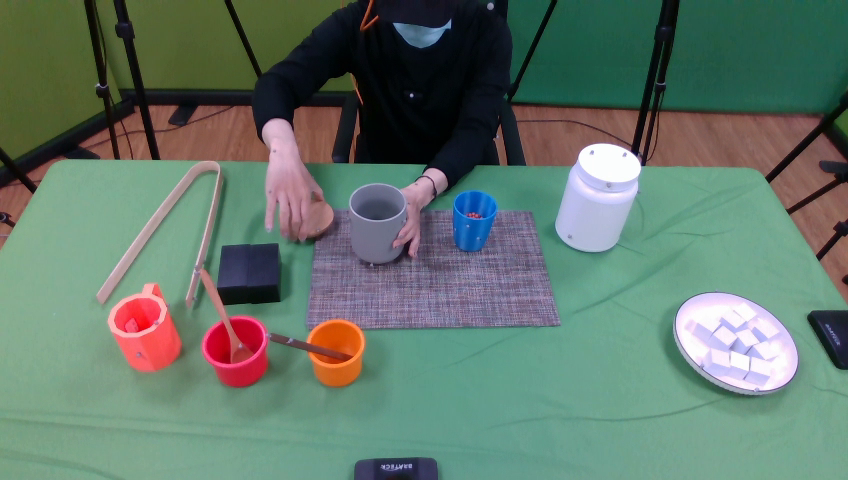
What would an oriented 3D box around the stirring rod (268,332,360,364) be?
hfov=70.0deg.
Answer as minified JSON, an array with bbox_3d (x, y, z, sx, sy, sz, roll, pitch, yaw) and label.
[{"bbox_3d":[-0.167,0.169,0.942,0.177,0.006,0.014,26,25,-41],"label":"stirring rod"}]

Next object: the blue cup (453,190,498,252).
[{"bbox_3d":[0.093,-0.032,1.174,0.093,0.101,0.092,3,45,-3],"label":"blue cup"}]

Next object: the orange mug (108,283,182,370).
[{"bbox_3d":[-0.446,0.134,0.982,0.083,0.101,0.125,-1,51,-5],"label":"orange mug"}]

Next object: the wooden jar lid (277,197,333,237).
[{"bbox_3d":[-0.235,-0.044,1.205,0.108,0.021,0.107,3,46,-3],"label":"wooden jar lid"}]

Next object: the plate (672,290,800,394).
[{"bbox_3d":[0.533,0.178,1.050,0.208,0.039,0.206,2,46,-2],"label":"plate"}]

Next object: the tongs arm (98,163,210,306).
[{"bbox_3d":[-0.520,-0.026,1.185,0.028,0.028,0.385,4,45,13],"label":"tongs arm"}]

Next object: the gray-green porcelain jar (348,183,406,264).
[{"bbox_3d":[-0.088,-0.026,1.138,0.106,0.127,0.105,2,46,-2],"label":"gray-green porcelain jar"}]

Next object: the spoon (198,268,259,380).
[{"bbox_3d":[-0.313,0.133,0.962,0.041,0.021,0.194,-24,96,-21],"label":"spoon"}]

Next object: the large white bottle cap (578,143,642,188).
[{"bbox_3d":[0.344,-0.139,1.123,0.115,0.018,0.114,2,46,-2],"label":"large white bottle cap"}]

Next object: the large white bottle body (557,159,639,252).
[{"bbox_3d":[0.340,-0.081,1.184,0.131,0.185,0.130,2,46,-1],"label":"large white bottle body"}]

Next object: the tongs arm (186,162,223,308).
[{"bbox_3d":[-0.436,-0.024,1.181,0.051,0.027,0.382,-4,45,1],"label":"tongs arm"}]
